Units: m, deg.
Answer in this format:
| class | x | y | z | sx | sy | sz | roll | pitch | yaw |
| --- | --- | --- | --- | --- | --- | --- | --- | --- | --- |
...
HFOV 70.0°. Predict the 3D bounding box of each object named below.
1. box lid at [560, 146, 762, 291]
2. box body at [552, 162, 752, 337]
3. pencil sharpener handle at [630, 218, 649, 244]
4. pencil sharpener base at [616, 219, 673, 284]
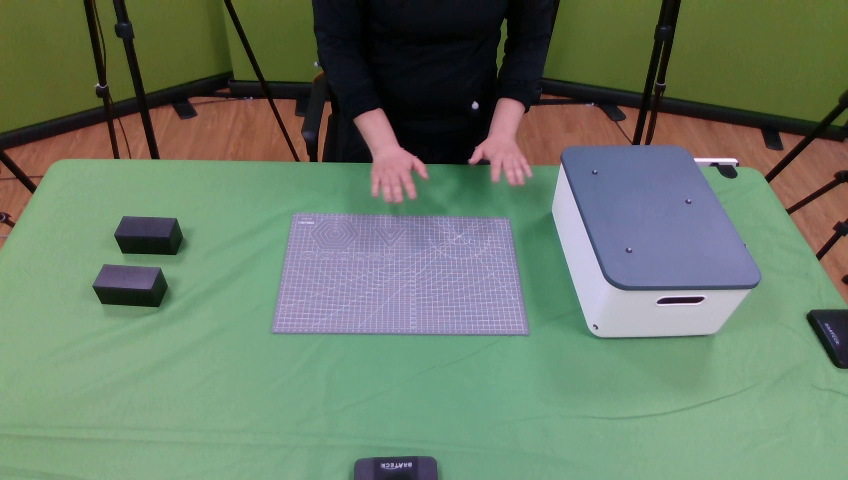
| class | x | y | z | sx | sy | sz | roll | pitch | yaw |
| --- | --- | --- | --- | --- | --- | --- | --- | --- | --- |
| box lid | 0.404 | -0.052 | 1.076 | 0.263 | 0.015 | 0.369 | -1 | 45 | -5 |
| box body | 0.401 | -0.001 | 1.131 | 0.254 | 0.161 | 0.361 | -1 | 46 | -5 |
| pencil sharpener handle | 0.409 | -0.024 | 1.167 | 0.036 | 0.068 | 0.030 | -10 | 44 | 0 |
| pencil sharpener base | 0.412 | 0.021 | 1.140 | 0.061 | 0.107 | 0.076 | -4 | 44 | -6 |
